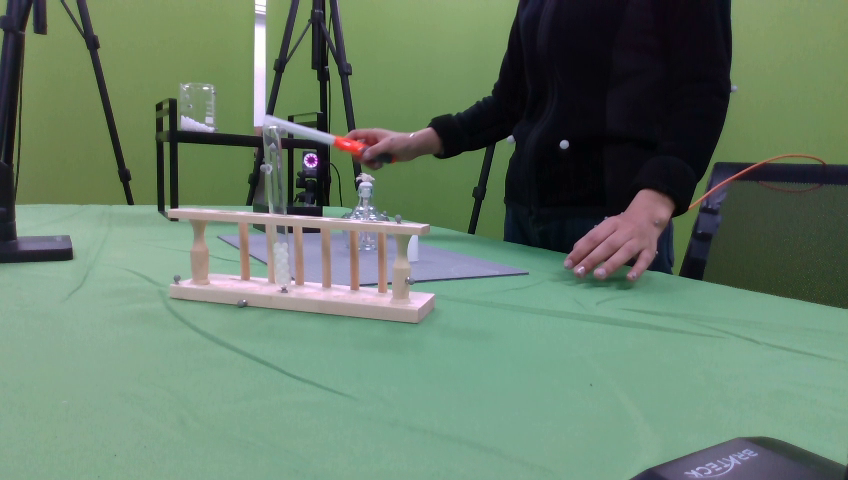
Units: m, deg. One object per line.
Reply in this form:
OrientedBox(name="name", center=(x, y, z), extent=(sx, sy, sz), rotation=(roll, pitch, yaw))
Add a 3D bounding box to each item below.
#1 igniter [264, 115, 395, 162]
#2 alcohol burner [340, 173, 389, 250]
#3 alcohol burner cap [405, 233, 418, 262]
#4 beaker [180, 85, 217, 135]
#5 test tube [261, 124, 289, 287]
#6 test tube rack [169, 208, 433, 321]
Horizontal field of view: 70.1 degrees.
OrientedBox(name="igniter", center=(-0.164, -0.185, 1.119), extent=(0.278, 0.025, 0.057), rotation=(10, 14, -44))
OrientedBox(name="alcohol burner", center=(-0.093, -0.045, 0.939), extent=(0.078, 0.119, 0.078), rotation=(0, 7, 0))
OrientedBox(name="alcohol burner cap", center=(-0.024, 0.005, 0.847), extent=(0.034, 0.048, 0.034), rotation=(3, 9, 0))
OrientedBox(name="beaker", center=(-0.478, -0.275, 1.279), extent=(0.074, 0.100, 0.084), rotation=(4, 8, 15))
OrientedBox(name="test tube", center=(-0.136, -0.030, 0.554), extent=(0.017, 0.150, 0.017), rotation=(-2, 10, 1))
OrientedBox(name="test tube rack", center=(-0.115, 0.018, 0.574), extent=(0.242, 0.085, 0.067), rotation=(4, 8, 14))
